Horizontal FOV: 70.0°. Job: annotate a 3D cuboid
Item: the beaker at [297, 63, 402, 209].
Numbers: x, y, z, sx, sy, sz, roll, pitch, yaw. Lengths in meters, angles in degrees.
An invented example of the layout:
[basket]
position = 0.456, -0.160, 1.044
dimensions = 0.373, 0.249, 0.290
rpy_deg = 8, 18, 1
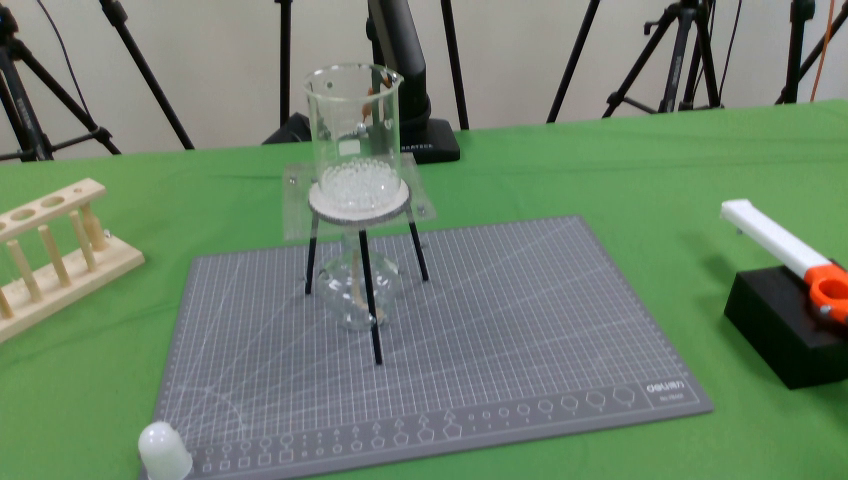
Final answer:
[beaker]
position = -0.055, -0.083, 0.490
dimensions = 0.084, 0.101, 0.073
rpy_deg = -20, 41, -25

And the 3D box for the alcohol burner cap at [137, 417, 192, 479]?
[alcohol burner cap]
position = -0.192, 0.149, 0.443
dimensions = 0.034, 0.048, 0.033
rpy_deg = 1, 37, -1

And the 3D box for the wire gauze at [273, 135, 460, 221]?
[wire gauze]
position = -0.051, -0.053, 0.504
dimensions = 0.125, 0.011, 0.120
rpy_deg = -16, 36, -27

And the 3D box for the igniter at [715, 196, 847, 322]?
[igniter]
position = 0.350, 0.032, 0.533
dimensions = 0.057, 0.025, 0.273
rpy_deg = -8, 33, -8

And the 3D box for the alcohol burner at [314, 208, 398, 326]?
[alcohol burner]
position = -0.063, 0.021, 0.559
dimensions = 0.078, 0.120, 0.077
rpy_deg = 1, 35, 0

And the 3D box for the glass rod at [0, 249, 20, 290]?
[glass rod]
position = -0.420, -0.036, 0.562
dimensions = 0.008, 0.201, 0.008
rpy_deg = -5, 29, 3

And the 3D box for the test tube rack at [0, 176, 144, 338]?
[test tube rack]
position = -0.406, 0.033, 0.579
dimensions = 0.066, 0.086, 0.242
rpy_deg = 23, 42, 29

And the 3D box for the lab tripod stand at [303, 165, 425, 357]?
[lab tripod stand]
position = -0.054, 0.012, 0.555
dimensions = 0.148, 0.132, 0.147
rpy_deg = 1, 36, 0
